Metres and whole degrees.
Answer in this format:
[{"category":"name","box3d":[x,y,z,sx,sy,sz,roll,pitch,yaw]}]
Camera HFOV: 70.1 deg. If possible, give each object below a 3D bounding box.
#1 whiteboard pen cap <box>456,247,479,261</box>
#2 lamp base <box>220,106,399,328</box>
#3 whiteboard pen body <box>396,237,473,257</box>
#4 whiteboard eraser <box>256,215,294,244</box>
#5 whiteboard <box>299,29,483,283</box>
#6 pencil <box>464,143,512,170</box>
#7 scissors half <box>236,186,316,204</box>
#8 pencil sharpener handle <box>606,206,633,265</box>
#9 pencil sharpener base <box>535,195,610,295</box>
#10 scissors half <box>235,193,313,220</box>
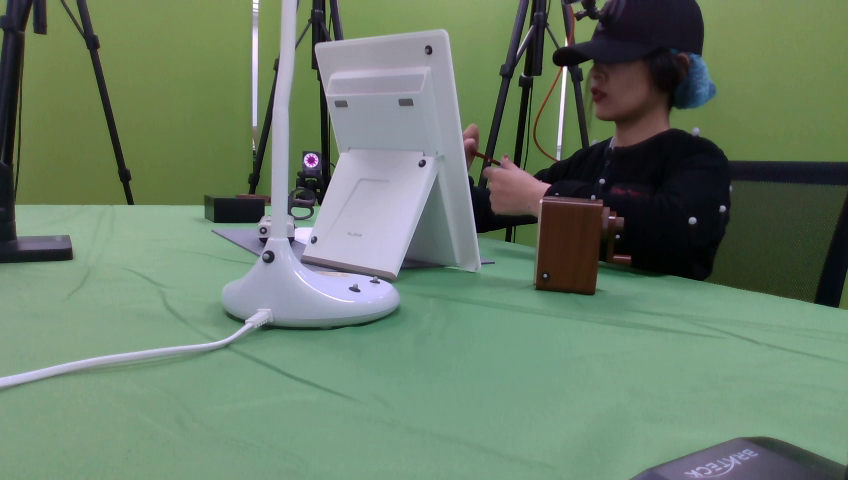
[{"category":"whiteboard pen cap","box3d":[0.060,0.020,0.851,0.033,0.018,0.018,10,10,37]},{"category":"lamp base","box3d":[-0.101,-0.023,0.531,0.160,0.180,0.179,4,10,10]},{"category":"whiteboard pen body","box3d":[0.014,0.012,0.886,0.140,0.017,0.017,10,10,38]},{"category":"whiteboard eraser","box3d":[-0.232,-0.016,0.951,0.056,0.042,0.112,2,7,-12]},{"category":"whiteboard","box3d":[-0.074,-0.082,0.742,0.216,0.305,0.144,9,30,38]},{"category":"pencil","box3d":[0.093,-0.153,1.046,0.012,0.012,0.195,10,-4,45]},{"category":"scissors half","box3d":[-0.320,-0.097,1.316,0.176,0.040,0.013,-4,13,-29]},{"category":"pencil sharpener handle","box3d":[0.223,-0.004,0.683,0.030,0.068,0.036,5,21,17]},{"category":"pencil sharpener base","box3d":[0.172,0.005,0.695,0.076,0.107,0.061,5,7,16]},{"category":"scissors half","box3d":[-0.325,-0.077,1.320,0.176,0.040,0.012,17,8,-32]}]
